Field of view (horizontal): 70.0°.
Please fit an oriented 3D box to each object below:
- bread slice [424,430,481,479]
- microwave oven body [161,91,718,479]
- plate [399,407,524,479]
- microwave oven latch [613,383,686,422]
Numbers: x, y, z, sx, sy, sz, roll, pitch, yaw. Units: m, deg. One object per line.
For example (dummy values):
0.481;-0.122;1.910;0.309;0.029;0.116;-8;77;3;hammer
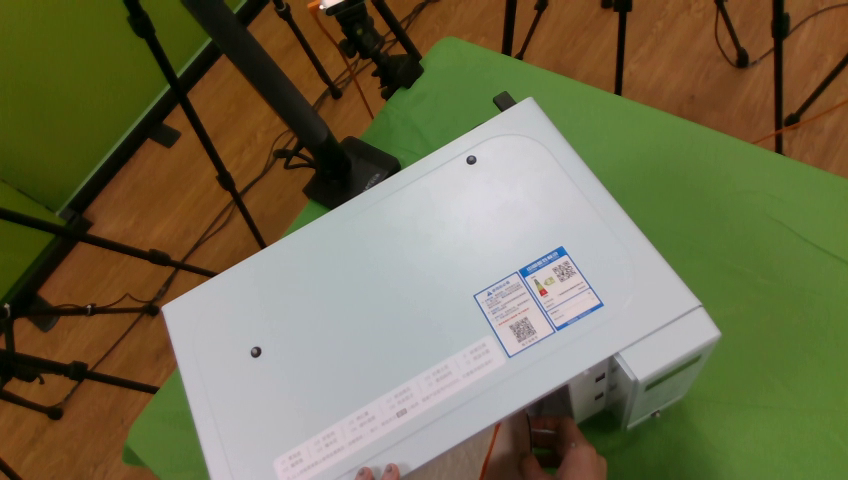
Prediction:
0.000;0.194;0.667;0.131;0.019;0.104;26;64;16;bread slice
0.009;0.109;0.661;0.442;0.262;0.322;-30;61;0;microwave oven body
0.004;0.197;0.656;0.207;0.039;0.205;-5;59;8;plate
0.251;0.172;0.676;0.079;0.030;0.030;-29;61;1;microwave oven latch
